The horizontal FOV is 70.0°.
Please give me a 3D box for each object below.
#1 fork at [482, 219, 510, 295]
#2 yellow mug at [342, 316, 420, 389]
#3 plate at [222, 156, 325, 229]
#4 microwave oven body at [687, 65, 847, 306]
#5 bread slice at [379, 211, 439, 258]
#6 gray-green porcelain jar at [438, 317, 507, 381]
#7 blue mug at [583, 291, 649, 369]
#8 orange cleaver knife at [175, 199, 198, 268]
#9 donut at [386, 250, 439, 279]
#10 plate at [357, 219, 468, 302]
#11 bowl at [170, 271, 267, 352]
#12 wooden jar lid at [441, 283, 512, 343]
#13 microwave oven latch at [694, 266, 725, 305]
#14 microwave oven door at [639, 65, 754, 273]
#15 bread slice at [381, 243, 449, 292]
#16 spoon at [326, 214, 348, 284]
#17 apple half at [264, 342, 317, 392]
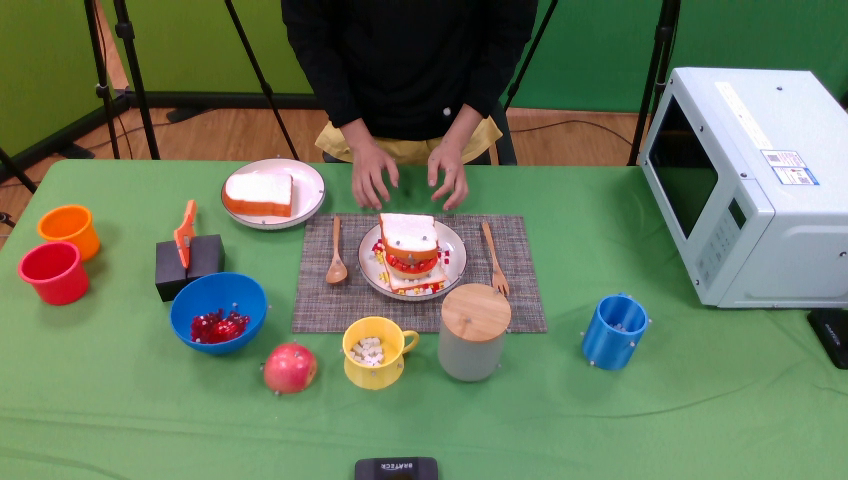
[{"bbox_3d":[0.136,0.029,1.172,0.028,0.019,0.206,-10,48,2],"label":"fork"},{"bbox_3d":[-0.067,0.177,0.990,0.131,0.064,0.099,-16,50,-19],"label":"yellow mug"},{"bbox_3d":[-0.308,-0.095,1.251,0.209,0.038,0.208,2,47,-2],"label":"plate"},{"bbox_3d":[0.669,-0.112,1.176,0.326,0.261,0.439,0,46,-3],"label":"microwave oven body"},{"bbox_3d":[-0.024,-0.012,1.064,0.105,0.019,0.130,3,33,-10],"label":"bread slice"},{"bbox_3d":[0.076,0.158,0.977,0.106,0.127,0.105,2,47,-2],"label":"gray-green porcelain jar"},{"bbox_3d":[0.324,0.142,1.023,0.082,0.106,0.116,15,47,11],"label":"blue mug"},{"bbox_3d":[-0.438,-0.017,1.138,0.012,0.077,0.210,-14,27,-6],"label":"orange cleaver knife"},{"bbox_3d":[-0.021,0.029,1.110,0.099,0.048,0.098,2,46,-2],"label":"donut"},{"bbox_3d":[-0.021,0.037,1.141,0.208,0.039,0.206,2,46,-2],"label":"plate"},{"bbox_3d":[-0.333,0.132,1.006,0.151,0.077,0.150,2,46,-2],"label":"bowl"},{"bbox_3d":[0.080,0.114,0.931,0.108,0.021,0.107,1,49,-1],"label":"wooden jar lid"},{"bbox_3d":[0.523,0.081,1.115,0.030,0.029,0.078,4,46,0],"label":"microwave oven latch"},{"bbox_3d":[0.522,-0.147,1.193,0.039,0.245,0.353,0,47,-3],"label":"microwave oven door"},{"bbox_3d":[-0.026,0.039,1.139,0.107,0.018,0.133,-12,48,-16],"label":"bread slice"},{"bbox_3d":[-0.167,0.013,1.164,0.041,0.022,0.192,-17,47,9],"label":"spoon"},{"bbox_3d":[-0.214,0.198,0.970,0.074,0.053,0.080,19,48,10],"label":"apple half"}]
